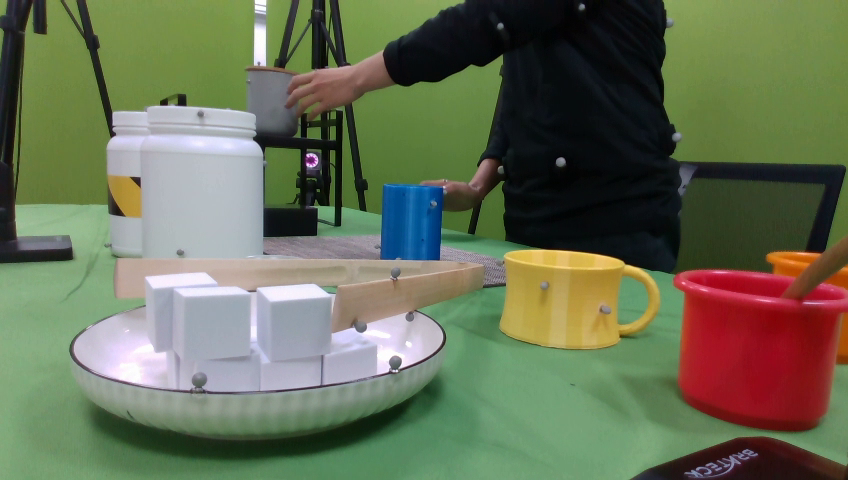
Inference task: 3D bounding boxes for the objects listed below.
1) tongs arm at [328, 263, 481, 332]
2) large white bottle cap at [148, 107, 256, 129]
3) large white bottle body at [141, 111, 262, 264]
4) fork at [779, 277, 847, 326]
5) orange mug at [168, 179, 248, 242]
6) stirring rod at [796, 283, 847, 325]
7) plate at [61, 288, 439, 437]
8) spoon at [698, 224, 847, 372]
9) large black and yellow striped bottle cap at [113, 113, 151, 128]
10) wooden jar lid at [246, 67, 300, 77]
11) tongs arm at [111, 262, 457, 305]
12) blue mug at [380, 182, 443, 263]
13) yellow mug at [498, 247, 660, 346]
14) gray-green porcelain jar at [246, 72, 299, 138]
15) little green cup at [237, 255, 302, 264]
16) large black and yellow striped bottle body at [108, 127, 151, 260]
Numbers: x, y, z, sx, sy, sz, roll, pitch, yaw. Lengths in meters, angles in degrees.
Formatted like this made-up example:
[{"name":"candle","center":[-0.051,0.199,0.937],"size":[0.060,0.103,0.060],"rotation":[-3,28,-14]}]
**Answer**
[{"name":"tongs arm","center":[-0.003,0.036,0.492],"size":[0.050,0.026,0.386],"rotation":[1,-1,19]},{"name":"large white bottle cap","center":[-0.250,-0.137,0.686],"size":[0.115,0.018,0.115],"rotation":[2,8,0]},{"name":"large white bottle body","center":[-0.254,-0.053,0.697],"size":[0.131,0.184,0.130],"rotation":[2,7,0]},{"name":"fork","center":[0.335,0.018,0.443],"size":[0.028,0.018,0.207],"rotation":[-1,-36,-20]},{"name":"orange mug","center":[-0.351,-0.050,0.986],"size":[0.126,0.101,0.083],"rotation":[-3,8,-9]},{"name":"stirring rod","center":[0.347,0.019,0.460],"size":[0.014,0.176,0.006],"rotation":[-17,59,-26]},{"name":"plate","center":[-0.095,0.069,0.362],"size":[0.208,0.039,0.207],"rotation":[3,7,0]},{"name":"spoon","center":[0.195,0.032,0.323],"size":[0.041,0.021,0.194],"rotation":[1,-36,2]},{"name":"large black and yellow striped bottle cap","center":[-0.348,-0.154,0.800],"size":[0.115,0.019,0.115],"rotation":[2,6,0]},{"name":"wooden jar lid","center":[-0.312,-0.339,1.247],"size":[0.108,0.020,0.108],"rotation":[4,8,0]},{"name":"tongs arm","center":[-0.080,0.033,0.527],"size":[0.028,0.027,0.389],"rotation":[-4,-4,33]},{"name":"blue mug","center":[-0.019,-0.026,0.833],"size":[0.082,0.106,0.116],"rotation":[1,7,-7]},{"name":"yellow mug","center":[0.130,0.045,0.508],"size":[0.131,0.064,0.100],"rotation":[4,7,6]},{"name":"gray-green porcelain jar","center":[-0.314,-0.277,1.256],"size":[0.106,0.126,0.106],"rotation":[3,8,0]},{"name":"little green cup","center":[-0.150,0.038,0.590],"size":[0.061,0.038,0.061],"rotation":[3,6,0]},{"name":"large black and yellow striped bottle body","center":[-0.350,-0.071,0.812],"size":[0.131,0.184,0.130],"rotation":[2,7,0]}]
